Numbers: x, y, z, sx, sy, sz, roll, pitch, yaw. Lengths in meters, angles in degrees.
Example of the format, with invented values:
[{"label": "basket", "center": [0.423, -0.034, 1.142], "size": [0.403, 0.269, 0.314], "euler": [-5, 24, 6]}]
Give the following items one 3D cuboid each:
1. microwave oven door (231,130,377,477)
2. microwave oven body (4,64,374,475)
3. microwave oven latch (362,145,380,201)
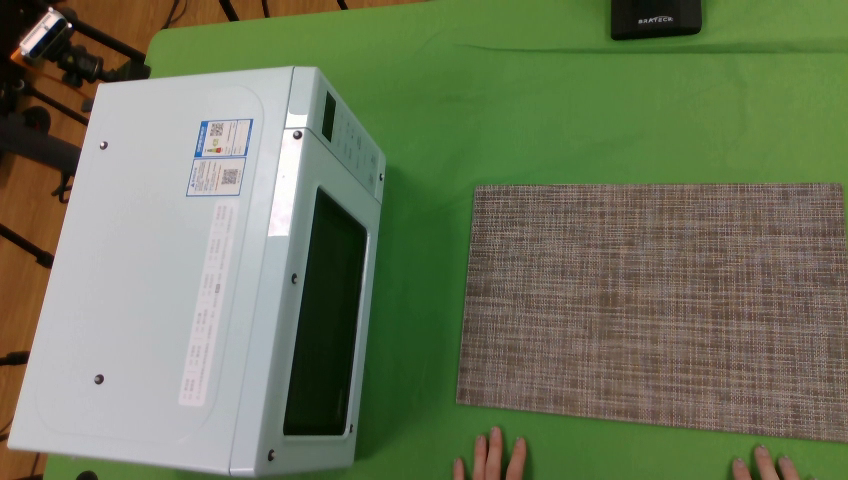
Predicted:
[{"label": "microwave oven door", "center": [-0.126, 0.084, 0.712], "size": [0.039, 0.246, 0.354], "euler": [-1, 73, 16]}, {"label": "microwave oven body", "center": [-0.262, 0.046, 0.767], "size": [0.325, 0.262, 0.439], "euler": [0, 74, 15]}, {"label": "microwave oven latch", "center": [-0.080, -0.096, 0.864], "size": [0.030, 0.030, 0.078], "euler": [1, 74, 15]}]
